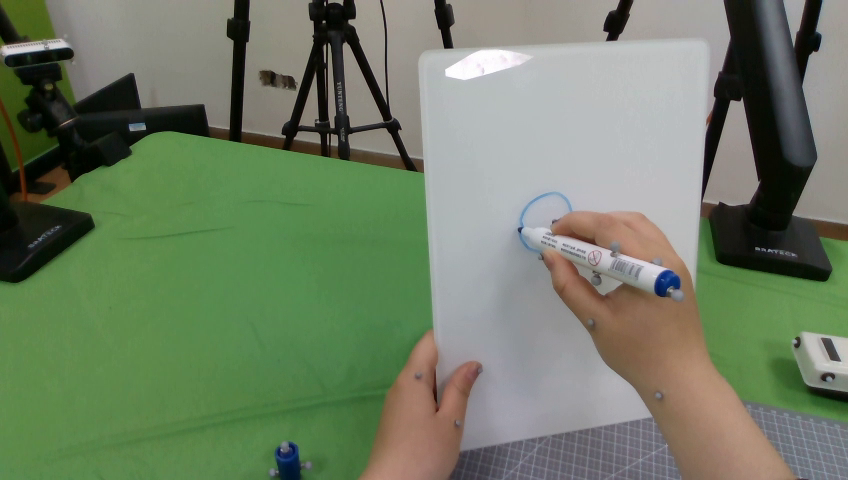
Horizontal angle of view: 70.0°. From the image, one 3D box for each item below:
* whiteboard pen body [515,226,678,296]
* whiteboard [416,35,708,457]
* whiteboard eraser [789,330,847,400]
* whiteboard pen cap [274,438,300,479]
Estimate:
[{"bbox_3d":[0.099,0.008,0.379,0.017,0.017,0.139,-16,21,-24],"label":"whiteboard pen body"},{"bbox_3d":[0.096,-0.005,0.517,0.218,0.307,0.143,-6,16,-10],"label":"whiteboard"},{"bbox_3d":[0.390,0.116,0.536,0.112,0.042,0.055,9,38,9],"label":"whiteboard eraser"},{"bbox_3d":[-0.101,0.164,0.450,0.018,0.033,0.018,2,36,-1],"label":"whiteboard pen cap"}]
